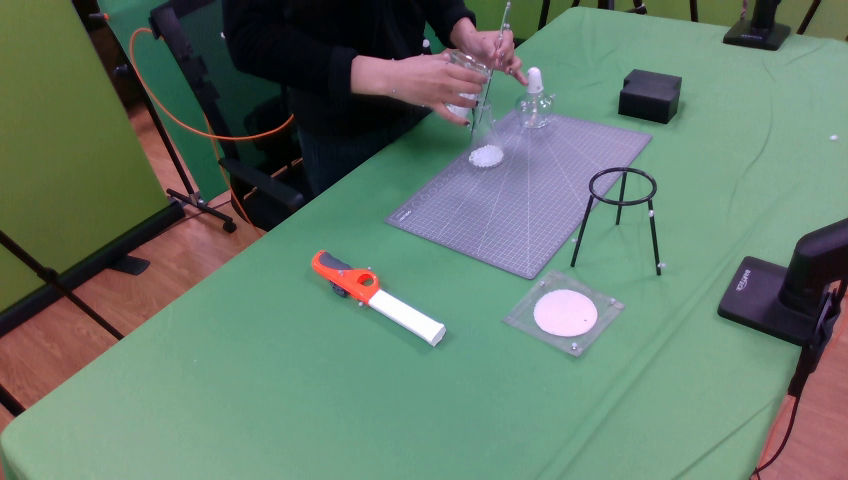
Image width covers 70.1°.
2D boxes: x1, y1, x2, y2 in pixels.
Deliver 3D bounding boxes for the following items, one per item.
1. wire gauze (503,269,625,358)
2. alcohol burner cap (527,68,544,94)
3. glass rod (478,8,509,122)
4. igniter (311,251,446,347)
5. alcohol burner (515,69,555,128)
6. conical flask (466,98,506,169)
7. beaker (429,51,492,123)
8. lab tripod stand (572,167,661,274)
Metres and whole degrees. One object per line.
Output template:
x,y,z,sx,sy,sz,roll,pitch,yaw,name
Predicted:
0.194,0.100,0.840,0.120,0.011,0.125,27,54,36,wire gauze
0.216,-0.312,1.179,0.034,0.048,0.033,-9,40,8,alcohol burner cap
0.121,-0.302,1.056,0.008,0.200,0.008,11,25,-5,glass rod
-0.078,0.081,0.899,0.274,0.025,0.057,27,62,35,igniter
0.221,-0.285,1.203,0.078,0.119,0.077,-4,39,4,alcohol burner
0.111,-0.199,1.116,0.075,0.122,0.075,-6,40,5,conical flask
0.060,-0.257,1.032,0.084,0.100,0.074,28,28,3,beaker
0.283,-0.030,0.879,0.148,0.132,0.147,-7,38,6,lab tripod stand
